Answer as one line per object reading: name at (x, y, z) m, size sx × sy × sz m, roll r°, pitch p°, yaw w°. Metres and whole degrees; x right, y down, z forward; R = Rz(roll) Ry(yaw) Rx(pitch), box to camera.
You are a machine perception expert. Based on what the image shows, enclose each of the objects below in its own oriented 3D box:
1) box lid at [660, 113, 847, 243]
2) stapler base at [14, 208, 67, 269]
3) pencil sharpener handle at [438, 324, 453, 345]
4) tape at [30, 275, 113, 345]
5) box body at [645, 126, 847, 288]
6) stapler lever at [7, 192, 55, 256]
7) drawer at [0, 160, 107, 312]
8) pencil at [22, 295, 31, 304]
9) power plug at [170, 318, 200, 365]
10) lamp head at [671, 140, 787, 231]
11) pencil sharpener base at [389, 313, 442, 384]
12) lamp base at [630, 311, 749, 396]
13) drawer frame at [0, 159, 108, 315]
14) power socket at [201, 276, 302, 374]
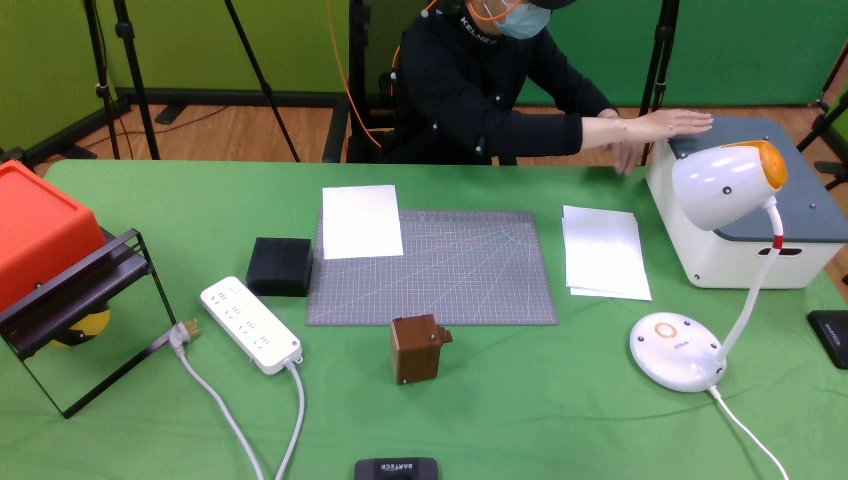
box lid at (0.628, -0.132, 1.170) m, size 0.263 × 0.015 × 0.369 m, roll 1°, pitch 46°, yaw -3°
stapler base at (-0.577, -0.010, 0.903) m, size 0.041 × 0.024 × 0.130 m, roll -31°, pitch 57°, yaw -25°
pencil sharpener handle at (0.036, 0.155, 0.976) m, size 0.031 × 0.068 × 0.036 m, roll -8°, pitch 69°, yaw -11°
tape at (-0.593, 0.117, 1.021) m, size 0.117 × 0.053 × 0.116 m, roll 3°, pitch 46°, yaw -2°
box body at (0.625, -0.080, 1.222) m, size 0.254 × 0.161 × 0.361 m, roll 0°, pitch 46°, yaw -3°
stapler lever at (-0.575, -0.026, 0.885) m, size 0.027 × 0.040 × 0.117 m, roll -31°, pitch 56°, yaw -25°
drawer at (-0.610, -0.001, 0.866) m, size 0.194 × 0.073 × 0.211 m, roll 29°, pitch 52°, yaw 21°
pencil at (-0.590, 0.010, 0.883) m, size 0.012 × 0.012 × 0.193 m, roll -17°, pitch 61°, yaw -20°
power plug at (-0.392, 0.167, 1.014) m, size 0.052 × 0.035 × 0.072 m, roll -30°, pitch 91°, yaw -23°
lamp head at (0.415, -0.078, 0.811) m, size 0.113 × 0.123 × 0.112 m, roll 12°, pitch 70°, yaw -37°
pencil sharpener base at (-0.013, 0.175, 0.971) m, size 0.077 × 0.107 × 0.061 m, roll -8°, pitch 47°, yaw -12°
lamp base at (0.447, 0.143, 0.983) m, size 0.161 × 0.181 × 0.178 m, roll -24°, pitch 55°, yaw -24°
drawer frame at (-0.611, 0.000, 0.863) m, size 0.201 × 0.083 × 0.213 m, roll 27°, pitch 51°, yaw 20°
power socket at (-0.297, 0.141, 1.034) m, size 0.072 × 0.033 × 0.225 m, roll -34°, pitch 58°, yaw -30°
